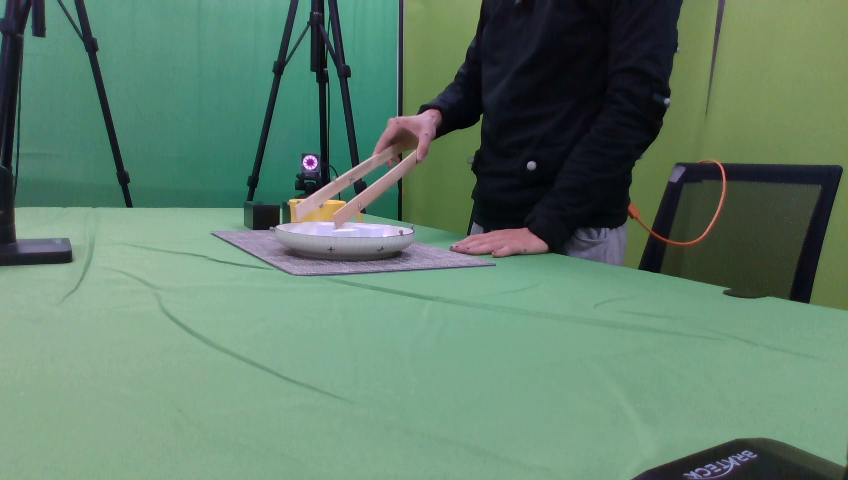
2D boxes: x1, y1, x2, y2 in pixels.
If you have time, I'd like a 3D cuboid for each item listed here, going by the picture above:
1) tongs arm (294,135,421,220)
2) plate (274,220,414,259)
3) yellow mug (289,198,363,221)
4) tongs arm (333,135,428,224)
[{"bbox_3d":[-0.101,-0.120,1.065,0.050,0.026,0.385,5,27,22],"label":"tongs arm"},{"bbox_3d":[-0.118,-0.001,0.903,0.208,0.039,0.207,3,7,0],"label":"plate"},{"bbox_3d":[-0.174,-0.039,1.072,0.131,0.064,0.100,3,7,0],"label":"yellow mug"},{"bbox_3d":[-0.063,-0.115,1.049,0.028,0.028,0.388,1,26,23],"label":"tongs arm"}]
